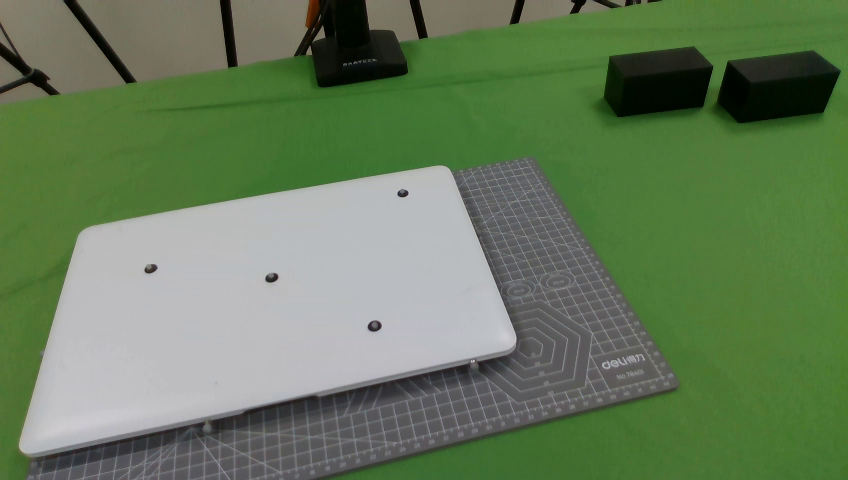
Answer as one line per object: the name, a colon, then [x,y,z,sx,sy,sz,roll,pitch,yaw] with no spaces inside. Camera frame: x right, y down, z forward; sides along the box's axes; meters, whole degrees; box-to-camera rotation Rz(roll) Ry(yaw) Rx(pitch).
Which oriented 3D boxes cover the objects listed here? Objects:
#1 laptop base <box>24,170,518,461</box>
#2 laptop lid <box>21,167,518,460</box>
laptop base: [-0.123,0.044,0.512,0.355,0.023,0.233,-11,46,-7]
laptop lid: [-0.123,0.037,0.502,0.357,0.013,0.239,-10,45,-5]
